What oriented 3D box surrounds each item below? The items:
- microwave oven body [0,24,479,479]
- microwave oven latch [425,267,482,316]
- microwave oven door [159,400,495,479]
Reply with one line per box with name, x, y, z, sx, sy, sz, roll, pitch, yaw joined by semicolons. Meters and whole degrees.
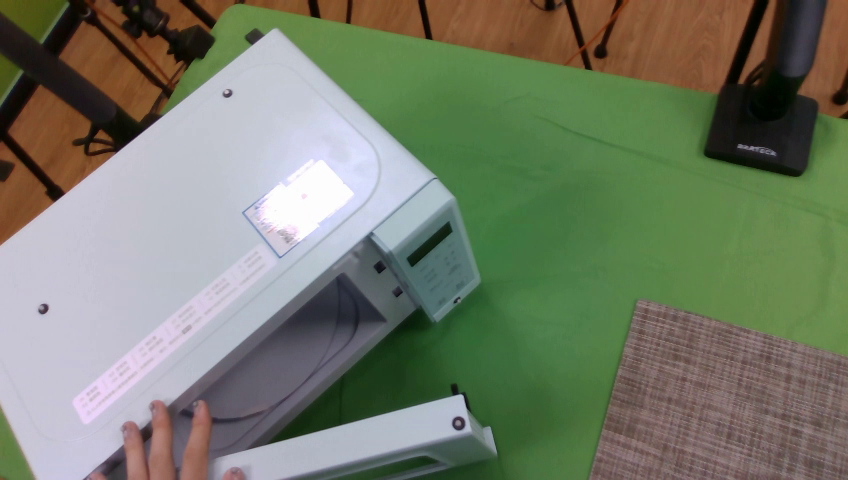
microwave oven body;-0.210;0.040;0.692;0.441;0.262;0.323;-42;66;-7
microwave oven latch;0.035;0.057;0.743;0.079;0.030;0.030;-40;66;-6
microwave oven door;-0.115;0.223;0.590;0.356;0.246;0.039;-16;66;4
